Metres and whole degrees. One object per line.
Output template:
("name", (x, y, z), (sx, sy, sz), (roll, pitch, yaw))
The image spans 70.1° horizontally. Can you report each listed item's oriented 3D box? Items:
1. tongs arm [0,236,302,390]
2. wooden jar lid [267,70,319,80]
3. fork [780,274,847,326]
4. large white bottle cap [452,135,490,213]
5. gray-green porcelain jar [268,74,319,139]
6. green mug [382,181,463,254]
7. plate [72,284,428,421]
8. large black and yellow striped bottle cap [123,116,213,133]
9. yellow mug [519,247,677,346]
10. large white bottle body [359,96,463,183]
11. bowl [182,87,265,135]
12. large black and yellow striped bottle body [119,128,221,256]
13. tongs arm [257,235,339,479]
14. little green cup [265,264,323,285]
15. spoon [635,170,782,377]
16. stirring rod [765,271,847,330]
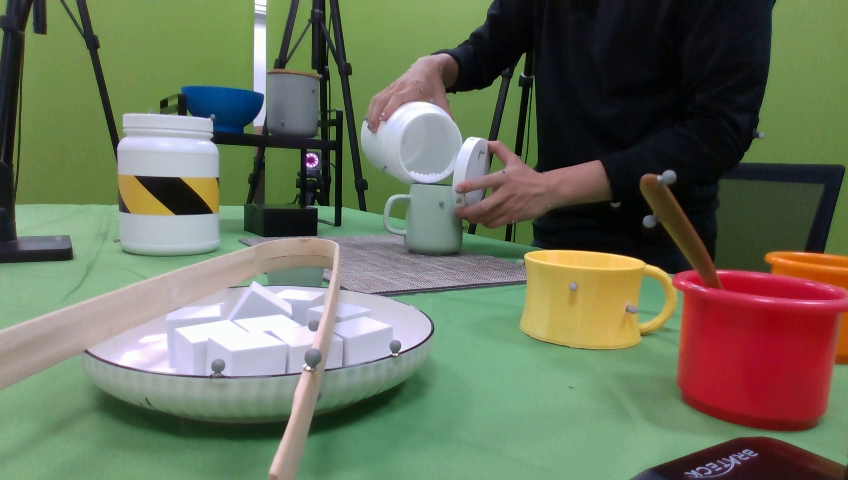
("tongs arm", (-0.157, 0.037, 0.347), (0.028, 0.028, 0.388), (-2, 8, 11))
("wooden jar lid", (-0.275, -0.339, 1.271), (0.108, 0.020, 0.108), (5, 6, 0))
("fork", (0.332, 0.019, 0.443), (0.028, 0.018, 0.207), (-3, -35, -16))
("large white bottle cap", (0.071, -0.097, 0.896), (0.018, 0.114, 0.115), (12, 11, 22))
("gray-green porcelain jar", (-0.277, -0.279, 1.280), (0.106, 0.126, 0.106), (2, 8, 0))
("green mug", (-0.001, -0.036, 0.921), (0.126, 0.105, 0.092), (0, 8, -15))
("plate", (-0.102, 0.067, 0.381), (0.208, 0.039, 0.207), (3, 7, 0))
("large black and yellow striped bottle cap", (-0.353, -0.159, 0.838), (0.115, 0.019, 0.115), (2, 6, 0))
("yellow mug", (0.148, 0.045, 0.513), (0.131, 0.064, 0.100), (3, 6, 0))
("large white bottle body", (-0.022, -0.165, 0.995), (0.131, 0.130, 0.184), (-1, 16, -22))
("bowl", (-0.383, -0.243, 1.158), (0.151, 0.077, 0.151), (2, 7, 0))
("large black and yellow striped bottle body", (-0.355, -0.076, 0.850), (0.131, 0.184, 0.130), (2, 8, 0))
("tongs arm", (-0.074, 0.040, 0.345), (0.051, 0.026, 0.384), (-1, 9, -3))
("little green cup", (-0.134, 0.033, 0.628), (0.061, 0.038, 0.061), (3, 7, 0))
("spoon", (0.161, 0.026, 0.346), (0.021, 0.194, 0.041), (-51, 32, -20))
("stirring rod", (0.352, 0.020, 0.481), (0.176, 0.006, 0.014), (-40, -8, 17))
